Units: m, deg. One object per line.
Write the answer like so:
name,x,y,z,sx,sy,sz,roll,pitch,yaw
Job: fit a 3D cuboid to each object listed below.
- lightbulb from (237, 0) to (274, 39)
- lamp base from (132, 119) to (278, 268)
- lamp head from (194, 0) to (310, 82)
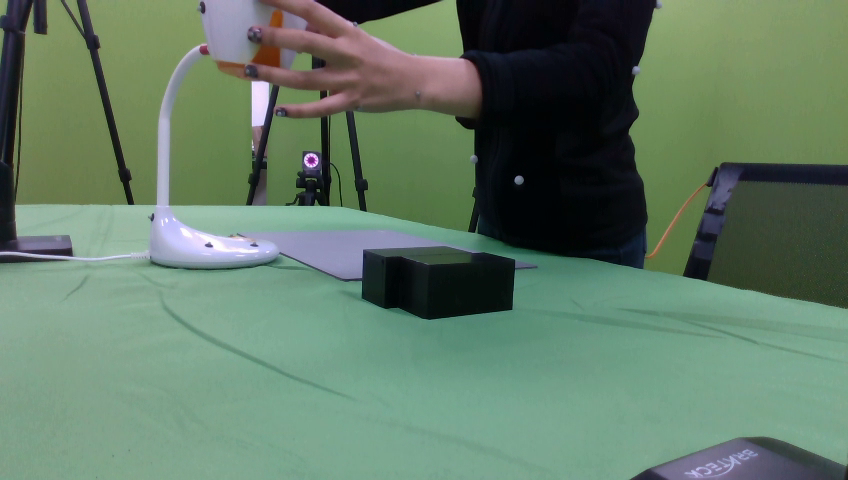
lightbulb,-0.156,-0.244,0.569,0.059,0.107,0.059,8,0,0
lamp base,-0.279,-0.061,0.770,0.160,0.180,0.180,9,13,44
lamp head,-0.166,-0.213,0.571,0.112,0.123,0.112,9,9,-1
